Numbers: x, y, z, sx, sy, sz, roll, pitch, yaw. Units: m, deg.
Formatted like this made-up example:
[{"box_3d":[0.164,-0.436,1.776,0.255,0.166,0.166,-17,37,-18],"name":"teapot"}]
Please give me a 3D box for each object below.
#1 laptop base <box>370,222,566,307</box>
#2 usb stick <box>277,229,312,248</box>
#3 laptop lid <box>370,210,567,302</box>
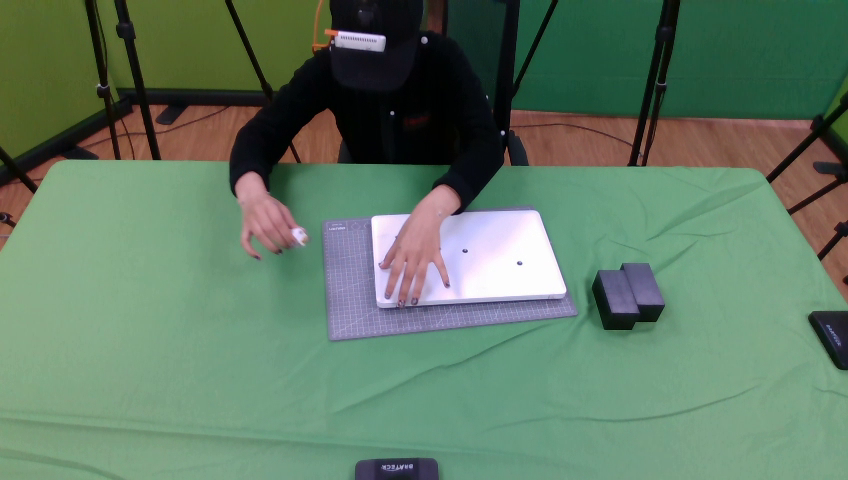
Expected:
[{"box_3d":[0.077,0.033,1.174,0.355,0.023,0.234,-2,43,-7],"name":"laptop base"},{"box_3d":[-0.222,-0.002,1.047,0.059,0.027,0.021,-2,46,28],"name":"usb stick"},{"box_3d":[0.077,0.023,1.168,0.357,0.013,0.240,-1,44,-5],"name":"laptop lid"}]
